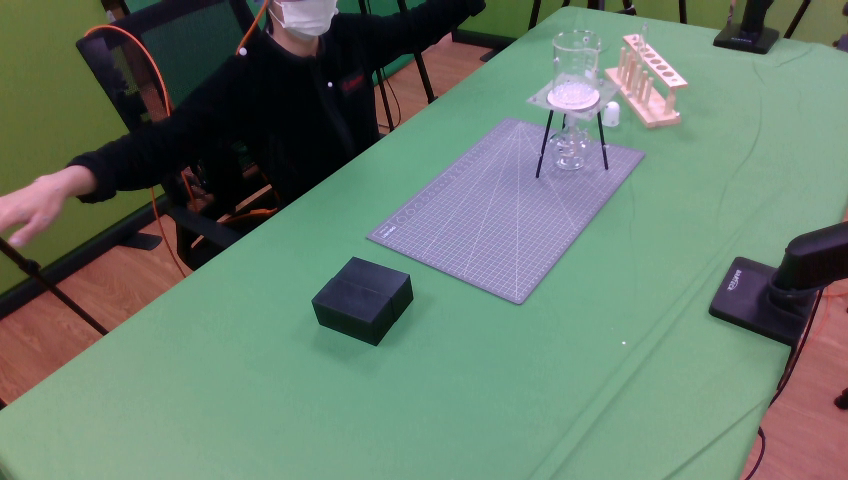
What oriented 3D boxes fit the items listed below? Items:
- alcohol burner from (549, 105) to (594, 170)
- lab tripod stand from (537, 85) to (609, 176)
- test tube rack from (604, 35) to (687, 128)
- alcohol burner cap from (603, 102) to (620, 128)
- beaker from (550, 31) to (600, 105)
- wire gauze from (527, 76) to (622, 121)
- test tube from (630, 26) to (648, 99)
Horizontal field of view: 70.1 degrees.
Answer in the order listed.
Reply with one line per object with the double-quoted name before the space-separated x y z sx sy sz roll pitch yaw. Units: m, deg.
"alcohol burner" 0.262 -0.186 1.076 0.078 0.119 0.077 -6 41 6
"lab tripod stand" 0.259 -0.192 1.068 0.148 0.132 0.147 -4 43 4
"test tube rack" 0.447 -0.330 1.241 0.067 0.085 0.241 -9 41 -2
"alcohol burner cap" 0.371 -0.249 1.193 0.034 0.048 0.033 -5 41 5
"beaker" 0.250 -0.281 0.996 0.074 0.101 0.083 -37 49 -27
"wire gauze" 0.255 -0.247 1.030 0.124 0.011 0.122 23 49 34
"test tube" 0.426 -0.350 1.199 0.017 0.151 0.017 -4 42 4
